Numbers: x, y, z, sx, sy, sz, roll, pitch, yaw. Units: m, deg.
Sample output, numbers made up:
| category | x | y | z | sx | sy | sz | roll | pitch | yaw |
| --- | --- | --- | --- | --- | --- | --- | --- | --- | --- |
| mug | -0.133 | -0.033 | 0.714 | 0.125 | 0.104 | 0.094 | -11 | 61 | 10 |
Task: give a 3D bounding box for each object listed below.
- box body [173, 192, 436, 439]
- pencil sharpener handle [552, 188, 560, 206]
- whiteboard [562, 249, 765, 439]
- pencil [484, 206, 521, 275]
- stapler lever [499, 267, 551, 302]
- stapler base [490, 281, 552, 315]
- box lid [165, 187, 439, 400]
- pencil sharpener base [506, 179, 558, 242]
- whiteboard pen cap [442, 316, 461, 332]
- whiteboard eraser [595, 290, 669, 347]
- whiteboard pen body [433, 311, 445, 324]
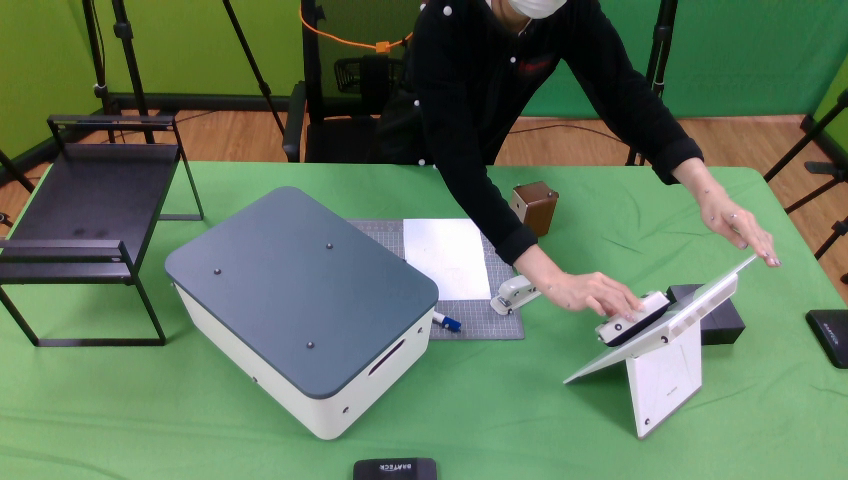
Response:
| category | x | y | z | sx | sy | sz | roll | pitch | yaw |
| --- | --- | --- | --- | --- | --- | --- | --- | --- | --- |
| box body | -0.191 | 0.110 | 0.979 | 0.362 | 0.161 | 0.254 | 33 | 53 | 24 |
| pencil sharpener handle | 0.262 | -0.084 | 1.221 | 0.031 | 0.068 | 0.036 | -16 | 65 | -19 |
| whiteboard | 0.386 | 0.176 | 0.905 | 0.217 | 0.306 | 0.143 | -26 | 72 | -26 |
| pencil | 0.157 | -0.002 | 1.217 | 0.012 | 0.012 | 0.192 | -10 | 48 | -13 |
| stapler lever | 0.185 | 0.077 | 1.101 | 0.118 | 0.040 | 0.026 | -25 | 57 | -29 |
| stapler base | 0.181 | 0.094 | 1.117 | 0.130 | 0.024 | 0.041 | -24 | 57 | -29 |
| box lid | -0.187 | 0.060 | 0.925 | 0.370 | 0.015 | 0.263 | 32 | 53 | 25 |
| pencil sharpener base | 0.216 | -0.059 | 1.211 | 0.077 | 0.107 | 0.061 | -16 | 49 | -19 |
| whiteboard pen cap | 0.048 | 0.147 | 1.060 | 0.033 | 0.018 | 0.018 | 24 | 49 | 16 |
| whiteboard eraser | 0.321 | 0.121 | 0.931 | 0.112 | 0.056 | 0.041 | -36 | 80 | 3 |
| whiteboard pen body | -0.004 | 0.123 | 1.074 | 0.140 | 0.017 | 0.017 | 24 | 49 | 15 |
